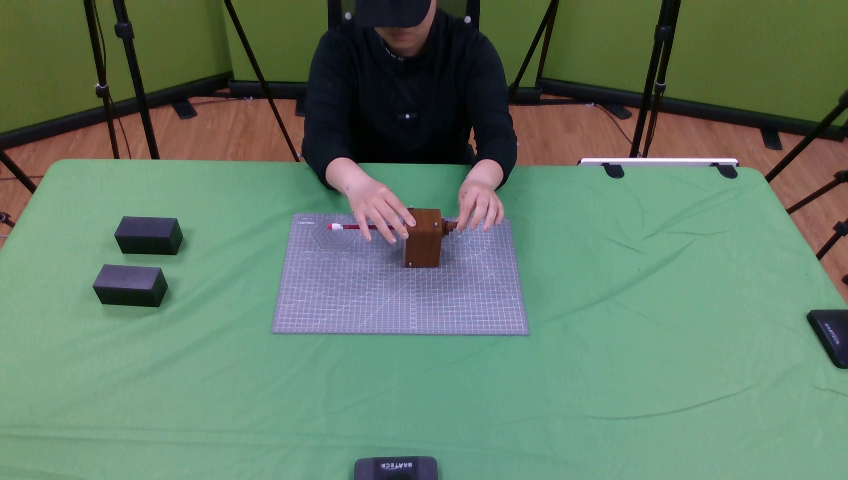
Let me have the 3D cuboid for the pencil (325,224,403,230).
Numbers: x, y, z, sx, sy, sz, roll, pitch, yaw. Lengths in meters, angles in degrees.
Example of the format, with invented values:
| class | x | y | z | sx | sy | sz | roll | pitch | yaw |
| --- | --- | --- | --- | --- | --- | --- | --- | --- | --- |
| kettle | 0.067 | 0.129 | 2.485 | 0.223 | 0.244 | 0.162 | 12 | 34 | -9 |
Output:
| class | x | y | z | sx | sy | sz | roll | pitch | yaw |
| --- | --- | --- | --- | --- | --- | --- | --- | --- | --- |
| pencil | -0.083 | -0.023 | 1.110 | 0.194 | 0.012 | 0.012 | 1 | 45 | -6 |

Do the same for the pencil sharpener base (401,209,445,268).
| class | x | y | z | sx | sy | sz | roll | pitch | yaw |
| --- | --- | --- | --- | --- | --- | --- | --- | --- | --- |
| pencil sharpener base | -0.004 | -0.002 | 1.137 | 0.077 | 0.107 | 0.061 | -1 | 46 | -5 |

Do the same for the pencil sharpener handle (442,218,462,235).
| class | x | y | z | sx | sy | sz | roll | pitch | yaw |
| --- | --- | --- | --- | --- | --- | --- | --- | --- | --- |
| pencil sharpener handle | 0.050 | -0.024 | 1.106 | 0.031 | 0.068 | 0.036 | -1 | 85 | -5 |
